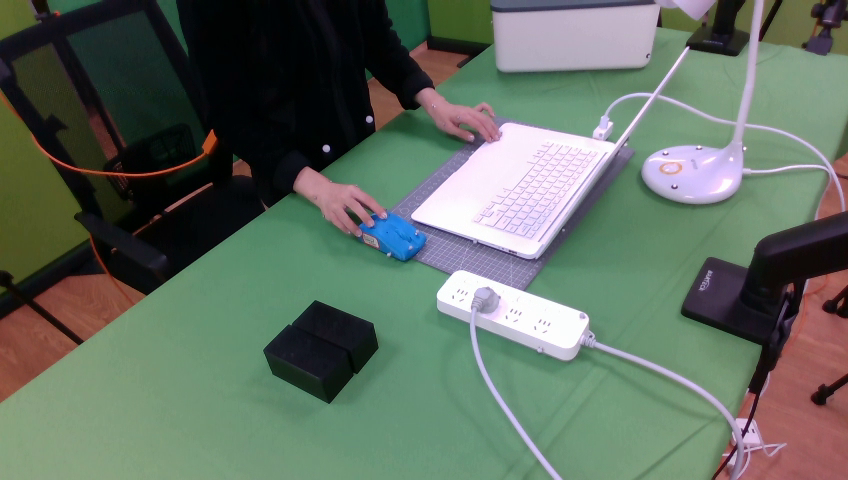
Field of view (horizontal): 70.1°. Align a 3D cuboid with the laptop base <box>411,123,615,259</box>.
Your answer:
[{"bbox_3d":[0.168,-0.101,1.073,0.234,0.023,0.355,17,45,30],"label":"laptop base"}]

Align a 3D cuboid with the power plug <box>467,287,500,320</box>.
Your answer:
[{"bbox_3d":[0.073,0.092,0.814,0.035,0.053,0.073,30,54,34],"label":"power plug"}]

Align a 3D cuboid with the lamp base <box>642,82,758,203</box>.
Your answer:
[{"bbox_3d":[0.464,-0.174,0.992,0.179,0.181,0.159,-5,41,-1],"label":"lamp base"}]

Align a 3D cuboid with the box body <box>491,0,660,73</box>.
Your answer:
[{"bbox_3d":[0.347,-0.521,1.429,0.363,0.161,0.253,1,41,9],"label":"box body"}]

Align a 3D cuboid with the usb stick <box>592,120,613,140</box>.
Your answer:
[{"bbox_3d":[0.336,-0.201,1.146,0.021,0.027,0.059,27,53,27],"label":"usb stick"}]

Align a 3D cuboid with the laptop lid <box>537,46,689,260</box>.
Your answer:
[{"bbox_3d":[0.293,-0.136,0.927,0.013,0.241,0.357,35,51,10],"label":"laptop lid"}]

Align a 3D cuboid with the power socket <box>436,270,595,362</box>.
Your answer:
[{"bbox_3d":[0.118,0.101,0.832,0.225,0.033,0.072,19,48,27],"label":"power socket"}]

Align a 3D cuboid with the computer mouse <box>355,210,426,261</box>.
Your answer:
[{"bbox_3d":[-0.055,-0.010,0.979,0.116,0.041,0.063,27,49,29],"label":"computer mouse"}]

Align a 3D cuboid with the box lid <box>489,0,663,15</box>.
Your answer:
[{"bbox_3d":[0.341,-0.576,1.380,0.371,0.015,0.262,0,41,10],"label":"box lid"}]

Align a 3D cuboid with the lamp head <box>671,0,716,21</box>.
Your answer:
[{"bbox_3d":[0.375,-0.373,0.807,0.122,0.113,0.112,-40,27,32],"label":"lamp head"}]
